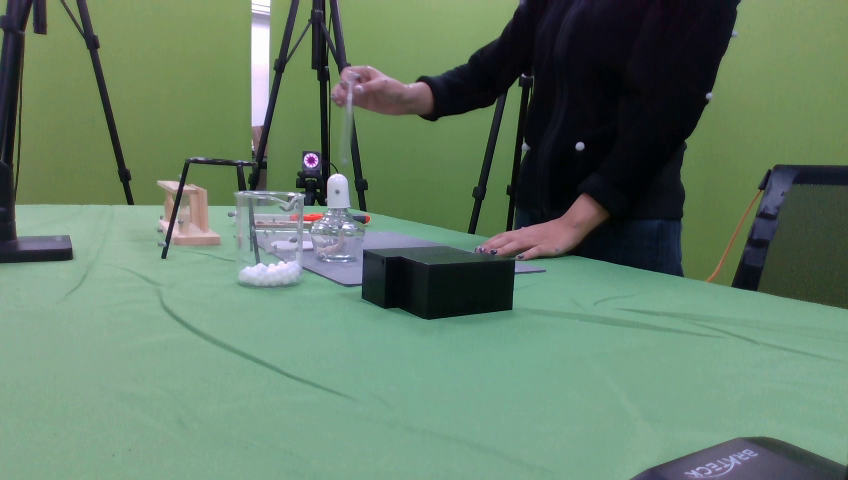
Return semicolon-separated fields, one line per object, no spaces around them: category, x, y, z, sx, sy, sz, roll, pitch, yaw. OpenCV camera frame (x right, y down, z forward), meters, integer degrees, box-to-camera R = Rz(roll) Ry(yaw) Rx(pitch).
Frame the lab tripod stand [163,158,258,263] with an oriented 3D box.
lab tripod stand;-0.265;-0.041;0.802;0.148;0.131;0.148;4;6;0

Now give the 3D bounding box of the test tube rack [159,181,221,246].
test tube rack;-0.395;-0.050;1.010;0.067;0.085;0.241;-2;9;-28

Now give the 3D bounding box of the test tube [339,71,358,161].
test tube;-0.124;-0.204;0.993;0.017;0.150;0.017;6;-3;1

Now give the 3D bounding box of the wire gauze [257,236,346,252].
wire gauze;-0.189;0.005;0.931;0.122;0.011;0.124;1;7;-21

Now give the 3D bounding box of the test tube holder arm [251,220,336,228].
test tube holder arm;-0.253;-0.030;1.156;0.179;0.015;0.013;-1;43;-30

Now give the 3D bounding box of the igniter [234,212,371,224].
igniter;-0.245;-0.045;1.248;0.278;0.025;0.057;-1;-2;-25

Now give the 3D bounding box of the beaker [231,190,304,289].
beaker;-0.166;-0.001;0.653;0.074;0.100;0.083;-4;10;-40

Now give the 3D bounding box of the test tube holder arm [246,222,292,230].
test tube holder arm;-0.291;-0.026;1.130;0.088;0.015;0.010;-1;42;-30

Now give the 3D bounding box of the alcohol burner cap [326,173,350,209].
alcohol burner cap;-0.116;-0.065;0.808;0.034;0.048;0.034;-3;10;1

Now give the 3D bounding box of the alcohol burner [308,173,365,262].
alcohol burner;-0.117;-0.030;0.813;0.078;0.119;0.078;4;9;0

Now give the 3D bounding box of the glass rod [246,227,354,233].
glass rod;-0.224;-0.017;1.109;0.201;0.008;0.008;1;7;-27
